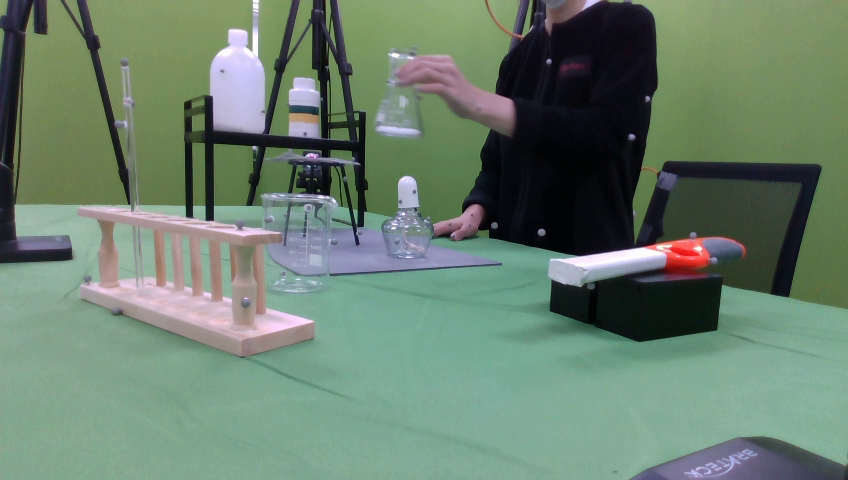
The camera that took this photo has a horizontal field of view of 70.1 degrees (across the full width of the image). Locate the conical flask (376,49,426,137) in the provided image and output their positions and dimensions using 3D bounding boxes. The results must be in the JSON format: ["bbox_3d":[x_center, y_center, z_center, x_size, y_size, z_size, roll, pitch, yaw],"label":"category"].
[{"bbox_3d":[-0.030,-0.213,0.881,0.075,0.122,0.075,4,13,-1],"label":"conical flask"}]

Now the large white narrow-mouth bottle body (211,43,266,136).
[{"bbox_3d":[-0.361,-0.302,1.176,0.102,0.194,0.102,1,7,0],"label":"large white narrow-mouth bottle body"}]

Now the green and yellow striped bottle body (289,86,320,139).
[{"bbox_3d":[-0.250,-0.272,1.261,0.063,0.119,0.063,3,7,0],"label":"green and yellow striped bottle body"}]

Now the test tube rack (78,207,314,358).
[{"bbox_3d":[-0.196,0.023,0.500,0.241,0.085,0.067,8,9,37],"label":"test tube rack"}]

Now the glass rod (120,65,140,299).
[{"bbox_3d":[-0.249,-0.047,0.513,0.008,0.199,0.008,-1,4,0],"label":"glass rod"}]

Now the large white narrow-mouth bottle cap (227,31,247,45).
[{"bbox_3d":[-0.361,-0.388,1.165,0.038,0.024,0.037,1,7,0],"label":"large white narrow-mouth bottle cap"}]

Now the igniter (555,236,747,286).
[{"bbox_3d":[0.221,0.017,0.558,0.278,0.025,0.057,-5,15,-39],"label":"igniter"}]

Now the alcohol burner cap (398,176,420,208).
[{"bbox_3d":[-0.023,-0.068,0.866,0.034,0.048,0.034,-4,8,1],"label":"alcohol burner cap"}]

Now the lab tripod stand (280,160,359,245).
[{"bbox_3d":[-0.176,-0.062,0.973,0.148,0.131,0.148,1,7,0],"label":"lab tripod stand"}]

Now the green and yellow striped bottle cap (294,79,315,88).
[{"bbox_3d":[-0.248,-0.323,1.256,0.045,0.020,0.045,3,9,0],"label":"green and yellow striped bottle cap"}]

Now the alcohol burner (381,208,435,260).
[{"bbox_3d":[-0.023,-0.032,0.872,0.078,0.119,0.078,0,6,0],"label":"alcohol burner"}]

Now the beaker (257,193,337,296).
[{"bbox_3d":[-0.130,0.004,0.628,0.084,0.100,0.074,5,8,15],"label":"beaker"}]

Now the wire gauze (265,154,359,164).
[{"bbox_3d":[-0.181,-0.129,0.969,0.126,0.011,0.121,-1,7,-27],"label":"wire gauze"}]
